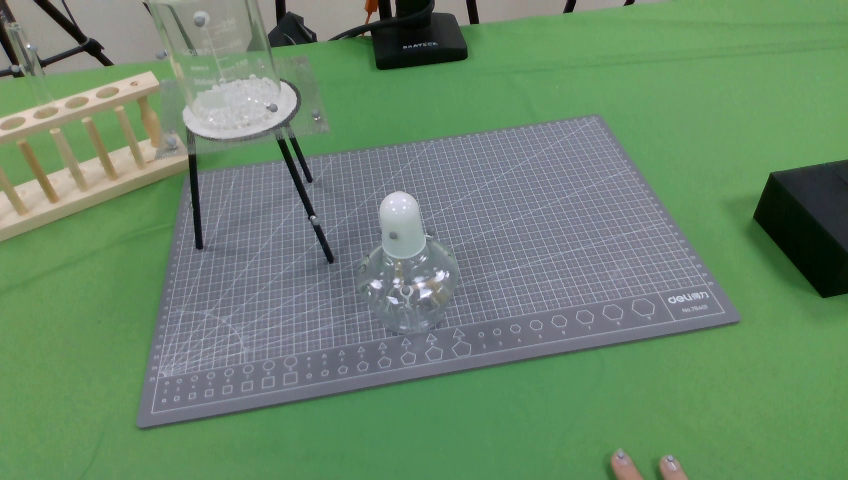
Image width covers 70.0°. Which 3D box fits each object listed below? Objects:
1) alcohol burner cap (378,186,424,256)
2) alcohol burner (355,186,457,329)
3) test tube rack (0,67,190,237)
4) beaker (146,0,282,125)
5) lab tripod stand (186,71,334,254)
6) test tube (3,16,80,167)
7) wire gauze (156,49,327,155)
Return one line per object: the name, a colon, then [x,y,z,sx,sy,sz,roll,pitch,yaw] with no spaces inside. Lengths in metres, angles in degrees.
alcohol burner cap: [-0.018,-0.016,0.423,0.034,0.048,0.033,-3,46,3]
alcohol burner: [-0.014,0.010,0.448,0.078,0.120,0.077,-2,43,2]
test tube rack: [-0.364,-0.081,0.592,0.242,0.086,0.066,-26,48,-21]
beaker: [-0.150,-0.141,0.434,0.084,0.101,0.073,-7,44,-1]
lab tripod stand: [-0.140,-0.062,0.517,0.148,0.133,0.147,-2,46,3]
test tube: [-0.360,-0.135,0.575,0.017,0.151,0.017,0,38,1]
wire gauze: [-0.144,-0.109,0.471,0.125,0.011,0.120,-15,43,-6]
